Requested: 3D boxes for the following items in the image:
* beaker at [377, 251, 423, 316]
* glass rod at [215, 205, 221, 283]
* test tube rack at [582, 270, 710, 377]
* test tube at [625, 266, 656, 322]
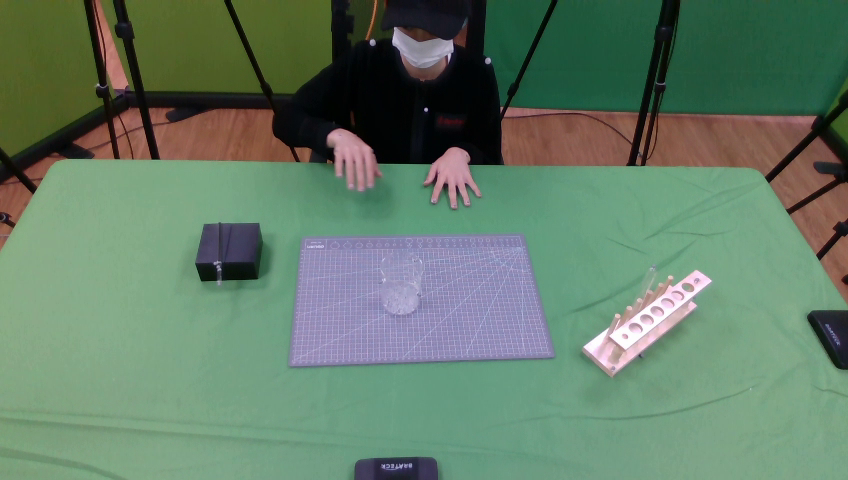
[{"bbox_3d":[-0.040,0.081,1.060,0.074,0.101,0.083,-32,57,-30],"label":"beaker"},{"bbox_3d":[-0.376,0.003,1.104,0.008,0.008,0.198,-8,47,-12],"label":"glass rod"},{"bbox_3d":[0.389,0.132,1.057,0.242,0.085,0.066,-28,54,-28],"label":"test tube rack"},{"bbox_3d":[0.366,0.096,1.027,0.017,0.151,0.017,1,47,0],"label":"test tube"}]
